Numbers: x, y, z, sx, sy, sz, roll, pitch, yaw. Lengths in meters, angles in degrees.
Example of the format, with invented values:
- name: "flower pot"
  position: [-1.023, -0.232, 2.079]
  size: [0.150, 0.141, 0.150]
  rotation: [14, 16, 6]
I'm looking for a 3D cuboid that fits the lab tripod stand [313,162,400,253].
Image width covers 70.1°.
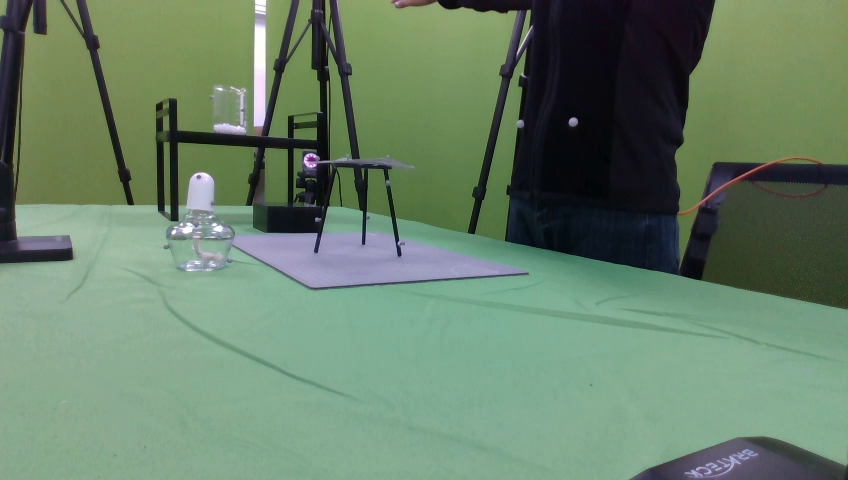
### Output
- name: "lab tripod stand"
  position: [-0.097, -0.051, 0.906]
  size: [0.148, 0.131, 0.148]
  rotation: [1, 6, 0]

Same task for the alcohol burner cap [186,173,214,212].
- name: "alcohol burner cap"
  position: [-0.268, -0.057, 0.730]
  size: [0.034, 0.048, 0.034]
  rotation: [5, 2, 0]

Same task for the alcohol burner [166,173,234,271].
- name: "alcohol burner"
  position: [-0.271, -0.022, 0.735]
  size: [0.078, 0.119, 0.078]
  rotation: [2, 5, 0]

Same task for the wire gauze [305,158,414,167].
- name: "wire gauze"
  position: [-0.092, -0.117, 0.894]
  size: [0.121, 0.011, 0.125]
  rotation: [4, 7, 19]

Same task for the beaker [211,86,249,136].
- name: "beaker"
  position: [-0.413, -0.274, 1.297]
  size: [0.074, 0.100, 0.083]
  rotation: [-5, 11, -44]
